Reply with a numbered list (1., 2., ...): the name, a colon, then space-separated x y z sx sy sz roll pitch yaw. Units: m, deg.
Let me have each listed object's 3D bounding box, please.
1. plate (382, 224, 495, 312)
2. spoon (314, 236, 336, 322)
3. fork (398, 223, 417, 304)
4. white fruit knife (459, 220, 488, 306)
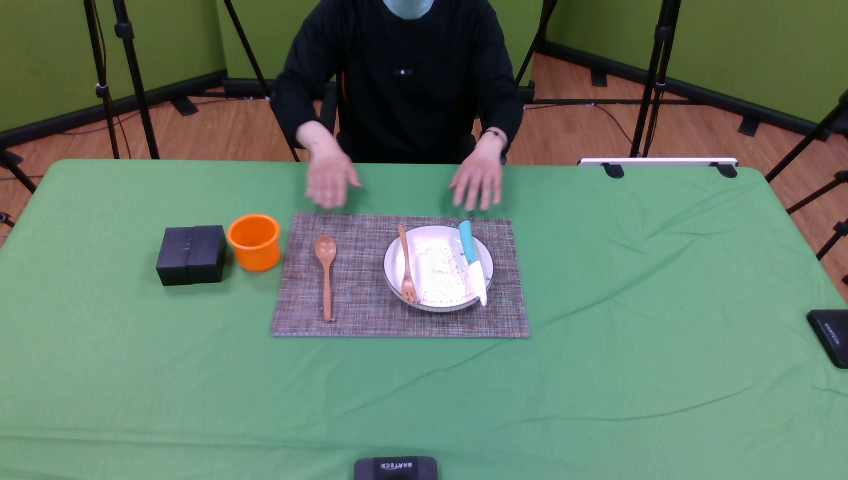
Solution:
1. plate: 0.026 0.055 1.128 0.209 0.038 0.208 2 46 -2
2. spoon: -0.180 0.068 1.111 0.042 0.022 0.192 9 43 -20
3. fork: -0.033 0.039 1.110 0.028 0.019 0.206 4 46 -13
4. white fruit knife: 0.091 0.039 1.118 0.027 0.016 0.206 -2 47 -10
